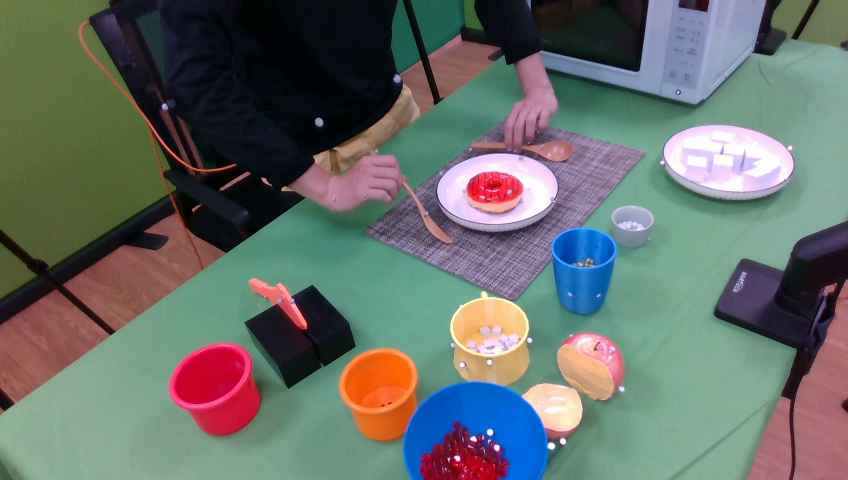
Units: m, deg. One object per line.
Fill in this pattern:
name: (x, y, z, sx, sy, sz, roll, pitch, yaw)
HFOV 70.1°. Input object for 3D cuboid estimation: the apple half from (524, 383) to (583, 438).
apple half: (0.149, 0.204, 0.704, 0.081, 0.033, 0.081, -10, 25, 5)

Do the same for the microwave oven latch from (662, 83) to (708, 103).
microwave oven latch: (0.518, -0.296, 1.205, 0.078, 0.029, 0.030, 28, 53, 36)

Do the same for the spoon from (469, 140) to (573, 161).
spoon: (0.180, -0.174, 1.132, 0.193, 0.022, 0.041, 7, 85, 9)

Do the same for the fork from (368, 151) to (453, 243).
fork: (-0.024, -0.070, 0.987, 0.206, 0.018, 0.028, 52, 31, 9)

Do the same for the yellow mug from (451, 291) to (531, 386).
yellow mug: (0.085, 0.120, 0.786, 0.100, 0.064, 0.130, -7, 39, 1)

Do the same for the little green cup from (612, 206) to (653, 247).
little green cup: (0.321, -0.019, 0.936, 0.061, 0.039, 0.061, -4, 40, 4)

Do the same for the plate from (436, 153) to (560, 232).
plate: (0.125, -0.078, 1.029, 0.209, 0.038, 0.208, -4, 40, 4)

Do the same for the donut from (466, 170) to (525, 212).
donut: (0.121, -0.083, 1.019, 0.099, 0.048, 0.098, -4, 38, 3)

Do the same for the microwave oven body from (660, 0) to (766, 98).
microwave oven body: (0.473, -0.513, 1.317, 0.438, 0.261, 0.327, 26, 51, 34)

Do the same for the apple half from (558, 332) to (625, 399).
apple half: (0.209, 0.147, 0.731, 0.080, 0.075, 0.053, 25, 46, 38)

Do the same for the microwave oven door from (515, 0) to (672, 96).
microwave oven door: (0.343, -0.455, 1.259, 0.353, 0.245, 0.039, 26, 51, 33)

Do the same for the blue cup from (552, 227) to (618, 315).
blue cup: (0.218, 0.047, 0.825, 0.092, 0.100, 0.092, -6, 39, 5)

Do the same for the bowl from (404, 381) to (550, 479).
bowl: (0.058, 0.235, 0.645, 0.151, 0.077, 0.150, -4, 39, 4)

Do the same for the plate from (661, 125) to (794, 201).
plate: (0.513, -0.128, 1.035, 0.207, 0.039, 0.206, -4, 40, 4)

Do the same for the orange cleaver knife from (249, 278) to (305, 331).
orange cleaver knife: (-0.210, 0.088, 0.856, 0.012, 0.077, 0.210, -28, 15, -25)
